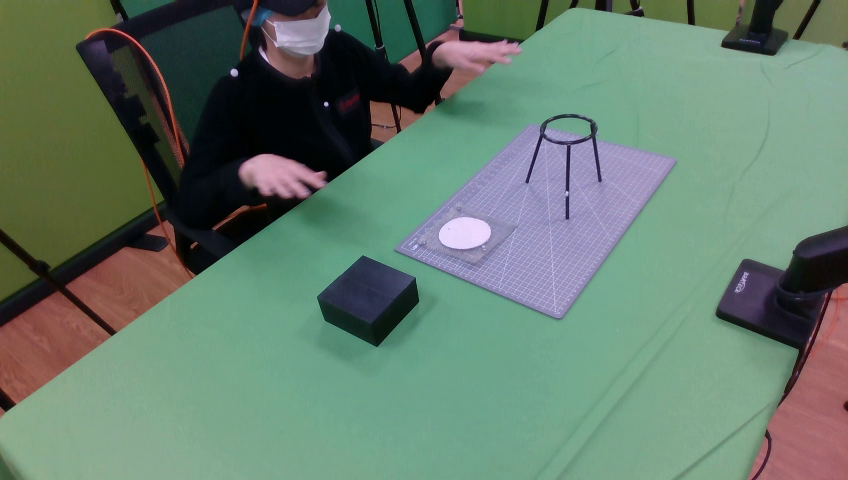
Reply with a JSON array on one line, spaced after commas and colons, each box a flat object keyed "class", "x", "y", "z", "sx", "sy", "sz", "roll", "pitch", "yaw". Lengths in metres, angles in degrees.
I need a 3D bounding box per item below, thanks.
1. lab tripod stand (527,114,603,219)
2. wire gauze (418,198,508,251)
[{"class": "lab tripod stand", "x": 0.234, "y": -0.129, "z": 1.002, "sx": 0.148, "sy": 0.132, "sz": 0.147, "roll": -6, "pitch": 40, "yaw": 6}, {"class": "wire gauze", "x": 0.065, "y": -0.028, "z": 0.983, "sx": 0.124, "sy": 0.011, "sz": 0.121, "roll": 2, "pitch": 42, "yaw": 22}]
